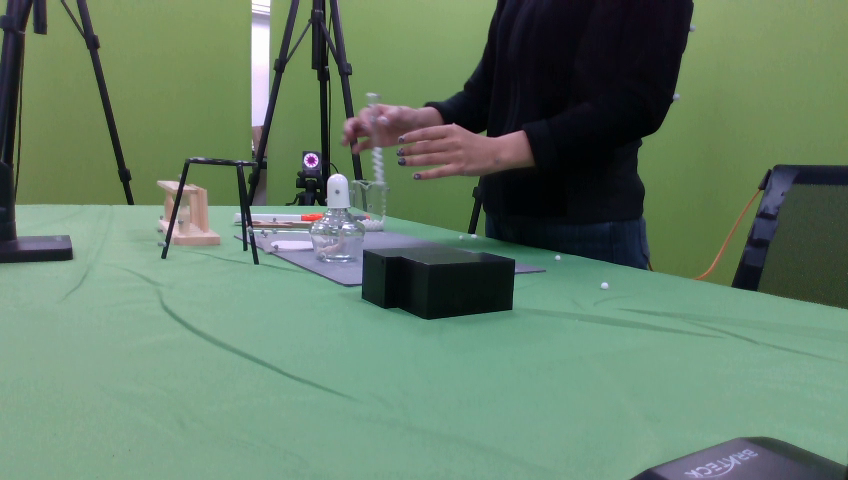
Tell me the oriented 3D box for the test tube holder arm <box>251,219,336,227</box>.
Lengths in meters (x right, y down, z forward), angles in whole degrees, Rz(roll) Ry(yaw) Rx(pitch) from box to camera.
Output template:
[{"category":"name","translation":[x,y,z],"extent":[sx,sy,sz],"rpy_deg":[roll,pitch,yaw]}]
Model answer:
[{"category":"test tube holder arm","translation":[-0.254,-0.031,1.157],"extent":[0.179,0.015,0.013],"rpy_deg":[-3,46,-31]}]

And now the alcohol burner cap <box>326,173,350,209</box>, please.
[{"category":"alcohol burner cap","translation":[-0.117,-0.065,0.807],"extent":[0.034,0.048,0.034],"rpy_deg":[-3,10,1]}]

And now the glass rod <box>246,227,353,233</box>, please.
[{"category":"glass rod","translation":[-0.224,-0.017,1.109],"extent":[0.201,0.008,0.008],"rpy_deg":[1,7,-27]}]

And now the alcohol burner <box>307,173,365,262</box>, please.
[{"category":"alcohol burner","translation":[-0.117,-0.030,0.813],"extent":[0.078,0.119,0.078],"rpy_deg":[3,9,0]}]

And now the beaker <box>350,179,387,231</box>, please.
[{"category":"beaker","translation":[-0.111,-0.069,1.204],"extent":[0.074,0.100,0.084],"rpy_deg":[2,8,0]}]

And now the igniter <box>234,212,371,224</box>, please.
[{"category":"igniter","translation":[-0.246,-0.045,1.248],"extent":[0.278,0.025,0.057],"rpy_deg":[-1,-2,-25]}]

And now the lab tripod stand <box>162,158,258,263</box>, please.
[{"category":"lab tripod stand","translation":[-0.265,-0.041,0.802],"extent":[0.148,0.131,0.148],"rpy_deg":[4,7,0]}]

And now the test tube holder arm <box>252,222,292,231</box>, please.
[{"category":"test tube holder arm","translation":[-0.291,-0.026,1.130],"extent":[0.088,0.015,0.010],"rpy_deg":[-2,46,-30]}]

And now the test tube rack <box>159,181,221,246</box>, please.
[{"category":"test tube rack","translation":[-0.395,-0.050,1.010],"extent":[0.067,0.085,0.241],"rpy_deg":[-2,8,-28]}]

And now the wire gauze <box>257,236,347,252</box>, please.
[{"category":"wire gauze","translation":[-0.190,0.005,0.931],"extent":[0.122,0.011,0.124],"rpy_deg":[1,7,-21]}]

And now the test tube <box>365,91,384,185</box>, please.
[{"category":"test tube","translation":[-0.080,-0.164,0.975],"extent":[0.017,0.150,0.017],"rpy_deg":[-6,7,1]}]
